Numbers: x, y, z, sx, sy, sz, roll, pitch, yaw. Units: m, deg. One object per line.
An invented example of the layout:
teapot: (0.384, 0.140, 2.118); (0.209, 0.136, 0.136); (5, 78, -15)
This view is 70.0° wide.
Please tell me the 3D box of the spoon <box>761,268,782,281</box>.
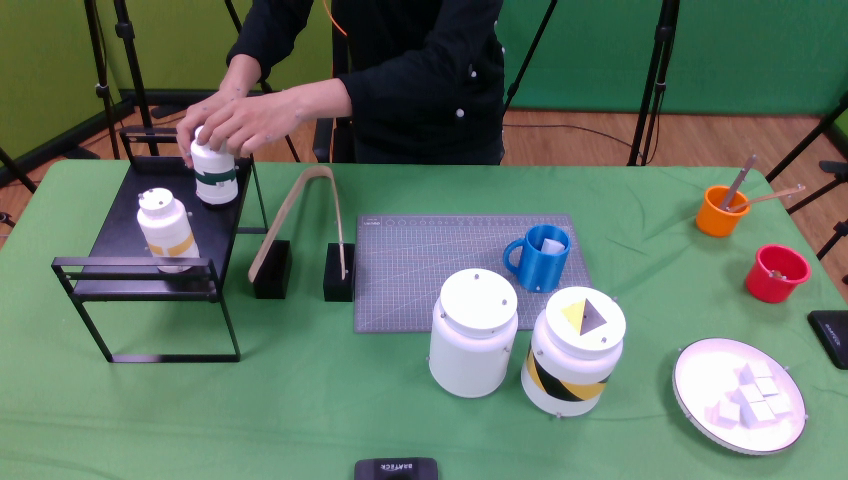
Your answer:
spoon: (0.638, 0.060, 1.105); (0.041, 0.021, 0.194); (38, 11, 24)

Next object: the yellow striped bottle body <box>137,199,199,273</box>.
yellow striped bottle body: (-0.366, -0.014, 0.864); (0.063, 0.121, 0.062); (2, 46, -2)

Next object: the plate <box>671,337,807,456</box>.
plate: (0.504, 0.254, 0.984); (0.208, 0.039, 0.206); (2, 46, -2)

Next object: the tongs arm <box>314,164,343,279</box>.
tongs arm: (-0.188, -0.049, 1.170); (0.051, 0.026, 0.382); (-5, 35, -6)

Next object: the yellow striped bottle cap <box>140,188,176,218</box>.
yellow striped bottle cap: (-0.363, -0.051, 0.827); (0.044, 0.019, 0.044); (1, 47, -1)

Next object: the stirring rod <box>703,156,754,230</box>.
stirring rod: (0.631, -0.097, 1.258); (0.014, 0.006, 0.176); (33, 95, 29)

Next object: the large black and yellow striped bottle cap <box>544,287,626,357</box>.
large black and yellow striped bottle cap: (0.232, 0.116, 0.876); (0.115, 0.019, 0.114); (2, 46, -1)

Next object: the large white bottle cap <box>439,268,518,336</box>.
large white bottle cap: (0.080, 0.089, 0.888); (0.115, 0.018, 0.114); (2, 47, -2)

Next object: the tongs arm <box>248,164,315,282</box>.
tongs arm: (-0.270, -0.047, 1.165); (0.028, 0.028, 0.385); (-1, 34, 7)

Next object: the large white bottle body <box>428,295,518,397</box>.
large white bottle body: (0.075, 0.147, 0.950); (0.131, 0.185, 0.130); (2, 47, -2)

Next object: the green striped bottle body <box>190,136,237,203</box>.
green striped bottle body: (-0.335, -0.121, 0.963); (0.063, 0.120, 0.063); (6, 45, -5)

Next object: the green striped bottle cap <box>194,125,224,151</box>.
green striped bottle cap: (-0.329, -0.157, 0.928); (0.044, 0.020, 0.044); (10, 40, -8)

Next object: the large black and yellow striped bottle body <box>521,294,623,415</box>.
large black and yellow striped bottle body: (0.228, 0.173, 0.937); (0.131, 0.185, 0.130); (2, 47, -2)

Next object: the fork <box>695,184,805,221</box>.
fork: (0.657, -0.075, 1.230); (0.207, 0.019, 0.028); (-23, 35, 37)

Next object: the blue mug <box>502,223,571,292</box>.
blue mug: (0.203, 0.031, 1.121); (0.116, 0.106, 0.082); (5, 46, 1)
